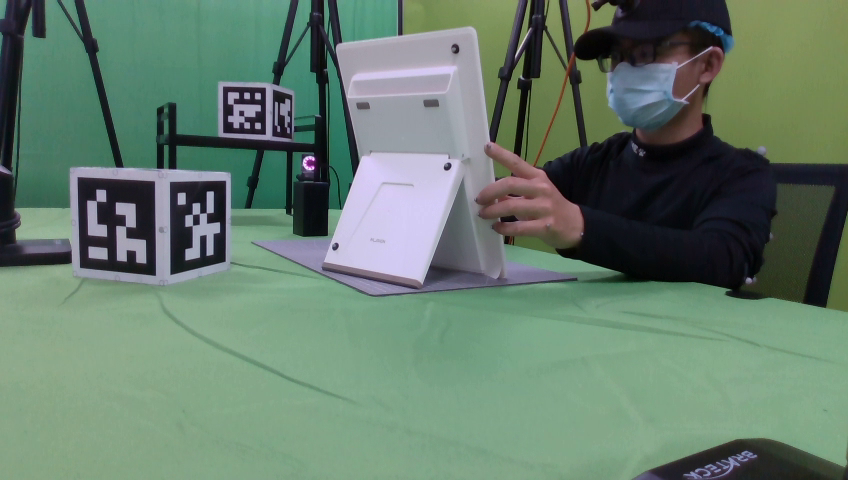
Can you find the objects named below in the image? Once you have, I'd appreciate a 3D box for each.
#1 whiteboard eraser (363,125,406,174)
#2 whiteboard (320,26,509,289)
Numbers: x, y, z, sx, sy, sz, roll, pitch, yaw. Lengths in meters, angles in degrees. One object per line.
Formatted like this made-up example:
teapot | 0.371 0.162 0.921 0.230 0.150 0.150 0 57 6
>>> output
whiteboard eraser | -0.057 -0.131 0.878 0.041 0.019 0.101 7 -25 22
whiteboard | -0.046 -0.076 0.720 0.216 0.305 0.144 9 29 38
